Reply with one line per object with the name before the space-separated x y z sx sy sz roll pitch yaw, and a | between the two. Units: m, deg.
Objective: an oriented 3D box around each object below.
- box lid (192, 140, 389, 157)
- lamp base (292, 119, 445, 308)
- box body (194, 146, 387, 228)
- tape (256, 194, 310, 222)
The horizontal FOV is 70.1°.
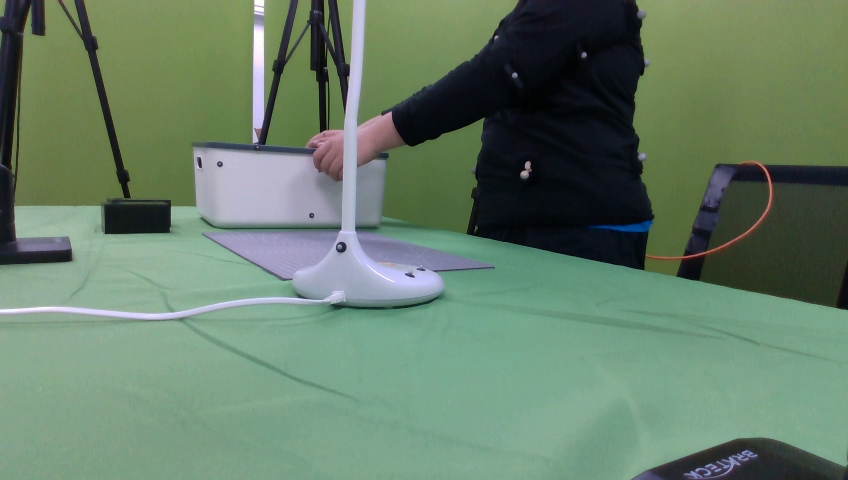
box lid | -0.287 -0.190 1.281 0.373 0.015 0.262 0 8 -28
lamp base | -0.056 -0.030 0.616 0.160 0.180 0.179 4 10 8
box body | -0.288 -0.118 1.291 0.366 0.160 0.253 -1 8 -28
tape | -0.301 -0.069 1.294 0.117 0.052 0.117 2 7 0
